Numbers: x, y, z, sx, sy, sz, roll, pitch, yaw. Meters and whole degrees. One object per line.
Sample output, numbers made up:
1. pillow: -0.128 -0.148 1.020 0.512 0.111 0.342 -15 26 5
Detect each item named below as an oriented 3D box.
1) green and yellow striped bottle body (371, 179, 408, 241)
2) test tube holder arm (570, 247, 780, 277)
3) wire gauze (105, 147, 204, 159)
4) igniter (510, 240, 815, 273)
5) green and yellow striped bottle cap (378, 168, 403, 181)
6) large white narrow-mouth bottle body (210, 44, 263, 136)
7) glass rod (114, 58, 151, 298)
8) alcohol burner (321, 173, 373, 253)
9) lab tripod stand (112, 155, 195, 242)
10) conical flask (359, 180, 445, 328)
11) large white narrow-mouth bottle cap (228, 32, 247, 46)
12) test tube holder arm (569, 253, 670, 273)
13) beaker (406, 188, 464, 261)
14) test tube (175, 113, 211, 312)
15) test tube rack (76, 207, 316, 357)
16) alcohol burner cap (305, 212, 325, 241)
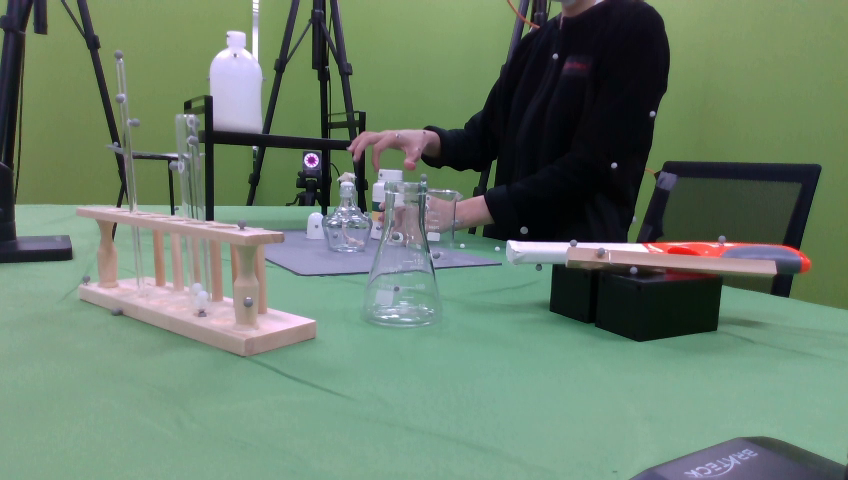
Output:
1. green and yellow striped bottle body: -0.060 -0.061 1.059 0.063 0.119 0.063 2 7 0
2. test tube holder arm: 0.217 0.019 0.525 0.178 0.015 0.013 3 -23 3
3. wire gauze: -0.407 -0.131 0.928 0.125 0.011 0.121 2 6 -11
4. igniter: 0.220 0.015 0.565 0.277 0.025 0.057 2 16 0
5. green and yellow striped bottle cap: -0.058 -0.114 1.051 0.045 0.020 0.045 4 7 0
6. large white narrow-mouth bottle body: -0.369 -0.305 1.194 0.102 0.194 0.102 3 8 0
7. glass rod: -0.236 -0.044 0.492 0.008 0.199 0.008 0 15 0
8. alcohol burner: -0.115 -0.041 0.905 0.078 0.119 0.078 1 6 0
9. lab tripod stand: -0.405 -0.064 0.931 0.148 0.131 0.148 1 6 0
10. conical flask: -0.017 0.010 0.522 0.075 0.122 0.075 2 7 0
11. large white narrow-mouth bottle cap: -0.364 -0.391 1.180 0.038 0.024 0.037 3 8 0
12. test tube holder arm: 0.172 0.019 0.532 0.088 0.015 0.010 3 -23 3
13. beaker: 0.014 -0.023 0.870 0.084 0.100 0.074 2 8 -4
14. test tube: -0.174 -0.020 0.458 0.017 0.150 0.017 -3 5 1
15. test tube rack: -0.196 0.023 0.499 0.241 0.085 0.067 8 9 36
16. alcohol burner cap: -0.185 -0.023 1.027 0.034 0.048 0.034 2 7 0
